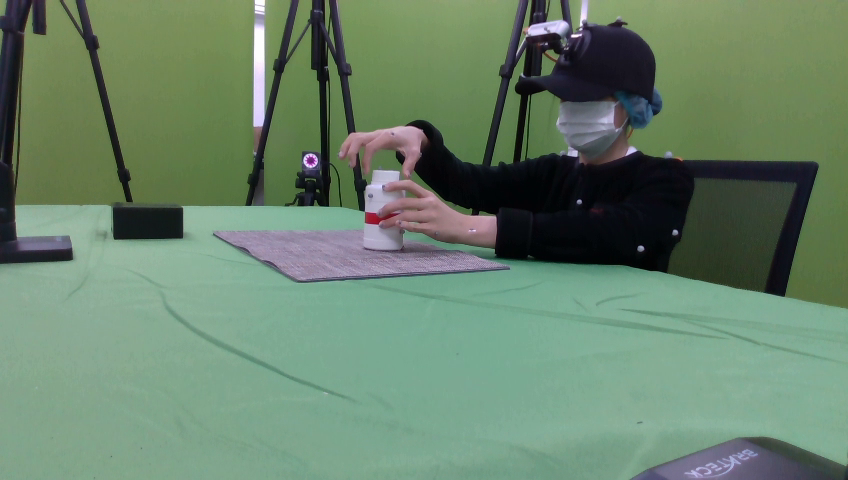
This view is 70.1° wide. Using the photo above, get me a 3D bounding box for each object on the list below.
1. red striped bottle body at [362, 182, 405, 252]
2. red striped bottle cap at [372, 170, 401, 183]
[{"bbox_3d":[-0.062,-0.044,0.933,0.063,0.119,0.063,4,7,0],"label":"red striped bottle body"},{"bbox_3d":[-0.058,-0.097,0.926,0.044,0.017,0.044,-2,9,1],"label":"red striped bottle cap"}]
